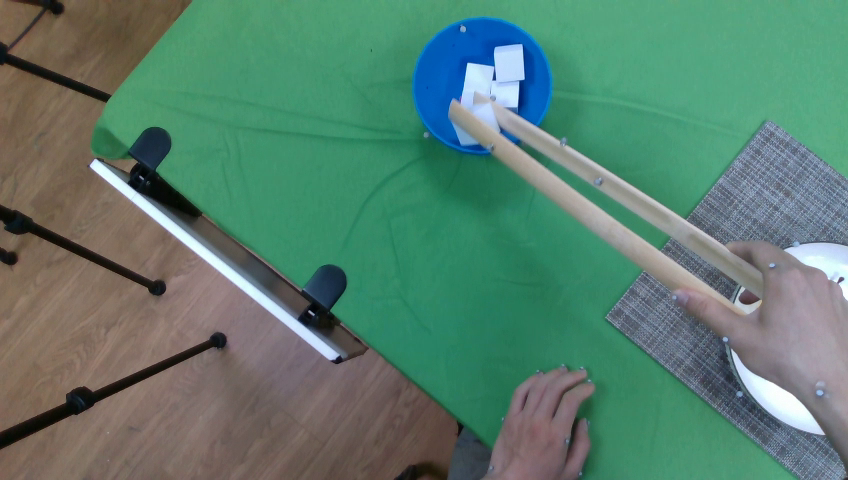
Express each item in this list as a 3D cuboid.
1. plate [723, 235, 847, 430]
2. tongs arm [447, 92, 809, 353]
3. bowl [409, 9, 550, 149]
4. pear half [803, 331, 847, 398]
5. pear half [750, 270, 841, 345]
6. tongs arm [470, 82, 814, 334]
[{"bbox_3d":[0.428,0.098,0.660,0.207,0.039,0.207,0,85,2],"label":"plate"},{"bbox_3d":[0.156,-0.030,0.549,0.028,0.028,0.384,-29,59,-34],"label":"tongs arm"},{"bbox_3d":[0.061,-0.168,0.681,0.151,0.077,0.151,0,84,2],"label":"bowl"},{"bbox_3d":[0.459,0.134,0.650,0.088,0.031,0.070,-18,88,6],"label":"pear half"},{"bbox_3d":[0.414,0.064,0.650,0.110,0.056,0.076,-40,89,-5],"label":"pear half"},{"bbox_3d":[0.174,-0.040,0.560,0.382,0.027,0.051,38,53,23],"label":"tongs arm"}]
